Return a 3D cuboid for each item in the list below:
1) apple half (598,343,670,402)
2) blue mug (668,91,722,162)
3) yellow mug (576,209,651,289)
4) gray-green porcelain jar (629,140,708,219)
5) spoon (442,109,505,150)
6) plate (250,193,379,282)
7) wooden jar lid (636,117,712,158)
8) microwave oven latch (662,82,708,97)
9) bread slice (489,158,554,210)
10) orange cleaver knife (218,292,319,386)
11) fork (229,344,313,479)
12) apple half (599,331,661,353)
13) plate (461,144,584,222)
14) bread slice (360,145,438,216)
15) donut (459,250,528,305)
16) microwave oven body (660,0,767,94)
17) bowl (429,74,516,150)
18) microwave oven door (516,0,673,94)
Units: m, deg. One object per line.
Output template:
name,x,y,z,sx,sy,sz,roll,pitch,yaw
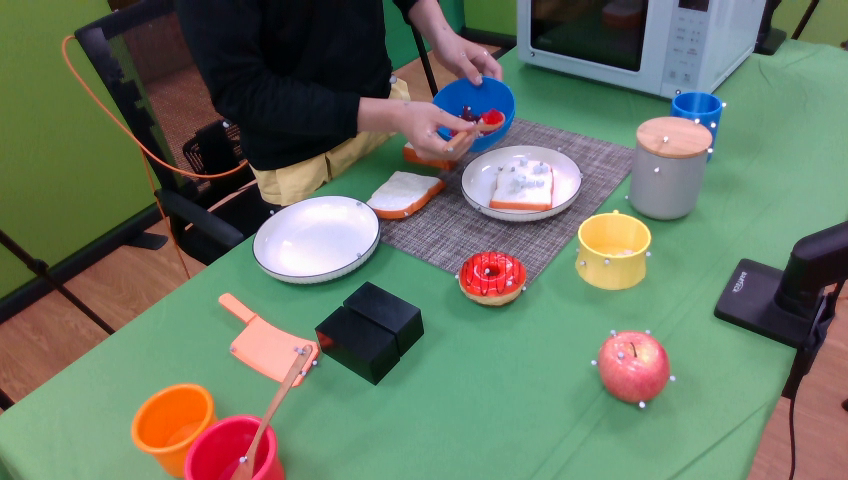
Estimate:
apple half,0.247,0.161,0.710,0.081,0.075,0.053,2,47,5
blue mug,0.474,-0.207,1.078,0.082,0.106,0.116,4,42,13
yellow mug,0.279,0.004,0.893,0.099,0.064,0.130,5,41,14
gray-green porcelain jar,0.383,-0.105,0.958,0.106,0.127,0.105,-4,41,4
spoon,0.072,-0.168,0.907,0.041,0.022,0.194,13,27,26
plate,-0.174,0.000,0.984,0.209,0.038,0.208,-3,40,3
wooden jar lid,0.377,-0.151,0.917,0.108,0.021,0.108,-2,42,2
microwave oven latch,0.518,-0.298,1.202,0.078,0.029,0.030,28,53,35
bread slice,0.173,-0.100,1.047,0.104,0.019,0.131,5,44,12
orange cleaver knife,-0.235,0.136,0.850,0.209,0.012,0.077,25,56,30
fork,-0.173,0.205,0.662,0.028,0.019,0.207,29,94,35
apple half,0.249,0.134,0.738,0.081,0.081,0.032,-1,46,7
plate,0.167,-0.095,1.040,0.207,0.039,0.206,-4,41,4
bread slice,-0.053,-0.103,1.046,0.106,0.018,0.134,19,67,22
donut,0.100,0.053,0.872,0.099,0.048,0.098,-5,40,4
microwave oven body,0.473,-0.516,1.313,0.438,0.261,0.327,26,51,34
bowl,0.088,-0.211,1.064,0.151,0.077,0.150,-5,57,8
microwave oven door,0.344,-0.458,1.257,0.353,0.245,0.039,26,51,33
